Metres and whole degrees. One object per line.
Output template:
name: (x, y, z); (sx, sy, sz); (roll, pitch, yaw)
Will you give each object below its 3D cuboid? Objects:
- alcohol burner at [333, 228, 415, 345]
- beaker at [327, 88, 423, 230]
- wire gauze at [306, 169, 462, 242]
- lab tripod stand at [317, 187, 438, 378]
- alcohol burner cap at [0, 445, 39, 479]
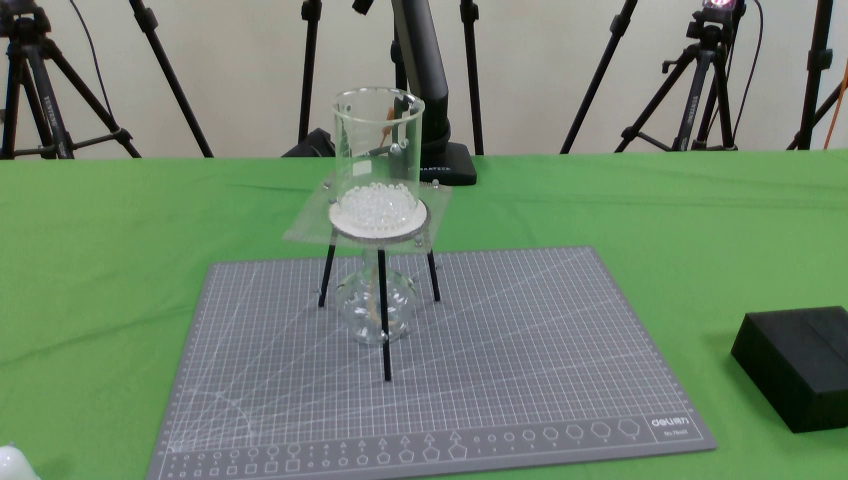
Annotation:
alcohol burner: (-0.047, 0.039, 0.570); (0.078, 0.120, 0.077); (3, 33, -2)
beaker: (-0.037, -0.067, 0.504); (0.084, 0.101, 0.073); (-26, 44, -36)
wire gauze: (-0.036, -0.034, 0.514); (0.125, 0.011, 0.120); (1, 30, -12)
lab tripod stand: (-0.040, 0.031, 0.564); (0.148, 0.132, 0.147); (3, 34, -2)
alcohol burner cap: (-0.298, 0.167, 0.429); (0.034, 0.048, 0.033); (3, 33, -2)
